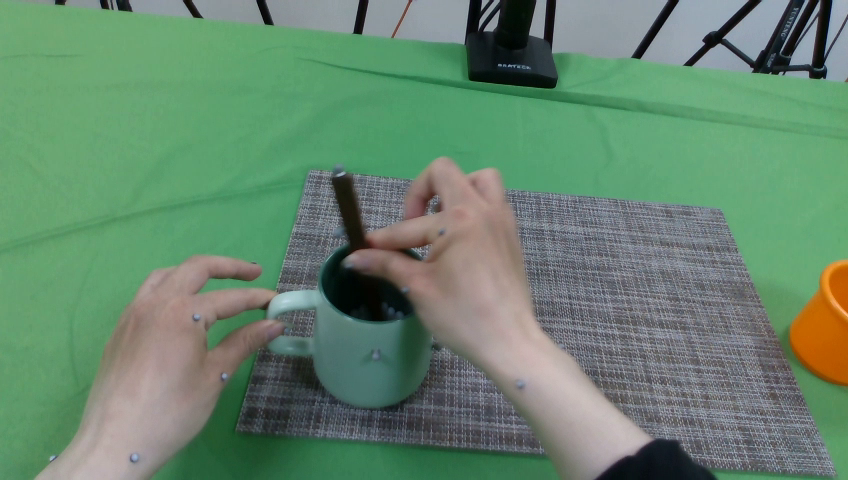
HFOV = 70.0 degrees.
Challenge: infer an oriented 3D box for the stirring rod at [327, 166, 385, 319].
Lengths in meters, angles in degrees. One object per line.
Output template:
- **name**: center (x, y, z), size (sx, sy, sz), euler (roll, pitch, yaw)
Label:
- **stirring rod**: center (-0.043, 0.015, 0.419), size (0.014, 0.178, 0.005), euler (-4, 50, 3)

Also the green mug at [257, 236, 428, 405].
- **green mug**: center (-0.058, 0.061, 0.444), size (0.125, 0.106, 0.091), euler (-2, 47, -10)
